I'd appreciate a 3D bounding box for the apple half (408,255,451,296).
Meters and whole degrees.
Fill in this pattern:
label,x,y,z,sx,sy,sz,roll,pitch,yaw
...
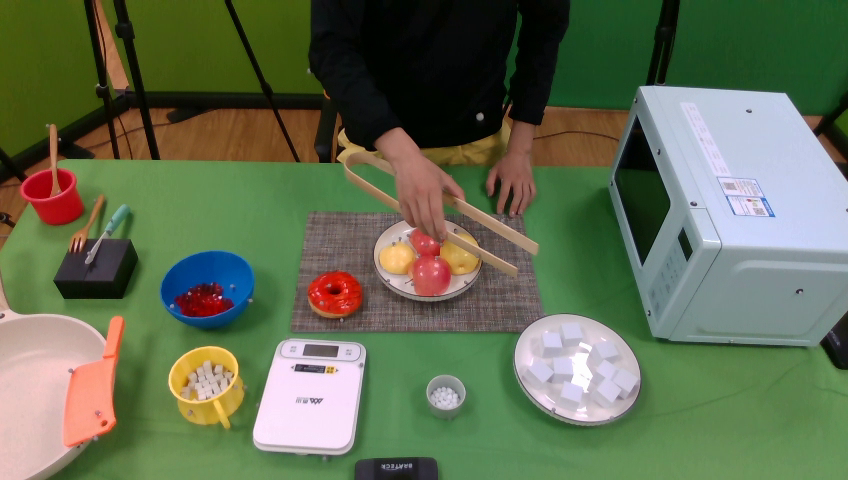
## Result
label,x,y,z,sx,sy,sz,roll,pitch,yaw
apple half,0.012,0.058,1.103,0.075,0.053,0.080,-6,43,-13

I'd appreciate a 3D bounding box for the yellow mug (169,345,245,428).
label,x,y,z,sx,sy,sz,roll,pitch,yaw
yellow mug,-0.322,0.230,0.922,0.100,0.064,0.130,-24,53,-25

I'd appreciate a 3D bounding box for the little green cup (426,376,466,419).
label,x,y,z,sx,sy,sz,roll,pitch,yaw
little green cup,0.033,0.248,0.950,0.061,0.039,0.061,2,46,-2

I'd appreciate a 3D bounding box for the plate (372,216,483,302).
label,x,y,z,sx,sy,sz,roll,pitch,yaw
plate,0.006,0.038,1.145,0.209,0.038,0.208,2,46,-2

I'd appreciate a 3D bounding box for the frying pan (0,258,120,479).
label,x,y,z,sx,sy,sz,roll,pitch,yaw
frying pan,-0.647,0.164,0.936,0.307,0.103,0.485,-19,58,-22

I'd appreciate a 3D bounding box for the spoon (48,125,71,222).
label,x,y,z,sx,sy,sz,roll,pitch,yaw
spoon,-0.718,-0.131,1.188,0.041,0.021,0.193,-3,90,-7

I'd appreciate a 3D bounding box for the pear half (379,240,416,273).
label,x,y,z,sx,sy,sz,roll,pitch,yaw
pear half,-0.048,0.024,1.146,0.070,0.031,0.087,11,47,-12

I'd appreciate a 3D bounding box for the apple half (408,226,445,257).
label,x,y,z,sx,sy,sz,roll,pitch,yaw
apple half,0.011,-0.006,1.177,0.081,0.033,0.081,2,53,-2

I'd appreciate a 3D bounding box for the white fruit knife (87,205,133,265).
label,x,y,z,sx,sy,sz,roll,pitch,yaw
white fruit knife,-0.584,-0.013,1.129,0.016,0.027,0.206,-1,32,-4

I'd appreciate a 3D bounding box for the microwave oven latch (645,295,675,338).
label,x,y,z,sx,sy,sz,roll,pitch,yaw
microwave oven latch,0.411,0.134,1.061,0.030,0.029,0.078,3,45,0

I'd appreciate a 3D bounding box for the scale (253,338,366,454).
label,x,y,z,sx,sy,sz,roll,pitch,yaw
scale,-0.175,0.236,0.951,0.149,0.032,0.199,4,45,0

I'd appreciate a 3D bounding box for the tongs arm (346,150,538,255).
label,x,y,z,sx,sy,sz,roll,pitch,yaw
tongs arm,0.018,-0.066,1.029,0.383,0.026,0.050,33,57,26

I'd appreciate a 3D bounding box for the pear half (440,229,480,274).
label,x,y,z,sx,sy,sz,roll,pitch,yaw
pear half,0.065,0.007,1.150,0.076,0.056,0.109,-11,43,-2

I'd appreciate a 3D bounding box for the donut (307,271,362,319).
label,x,y,z,sx,sy,sz,roll,pitch,yaw
donut,-0.157,0.097,1.073,0.099,0.048,0.098,4,44,-4

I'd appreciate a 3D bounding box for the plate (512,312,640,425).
label,x,y,z,sx,sy,sz,roll,pitch,yaw
plate,0.246,0.213,0.999,0.208,0.039,0.206,2,46,-2

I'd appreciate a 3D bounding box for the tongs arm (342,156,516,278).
label,x,y,z,sx,sy,sz,roll,pitch,yaw
tongs arm,-0.006,-0.044,1.009,0.385,0.028,0.028,33,61,26

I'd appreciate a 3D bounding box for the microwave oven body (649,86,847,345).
label,x,y,z,sx,sy,sz,roll,pitch,yaw
microwave oven body,0.567,-0.053,1.118,0.326,0.261,0.439,2,45,-1

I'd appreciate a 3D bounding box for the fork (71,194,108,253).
label,x,y,z,sx,sy,sz,roll,pitch,yaw
fork,-0.634,-0.036,1.158,0.028,0.019,0.206,-8,32,-8

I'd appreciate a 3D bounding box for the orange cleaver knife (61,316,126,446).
label,x,y,z,sx,sy,sz,roll,pitch,yaw
orange cleaver knife,-0.480,0.199,0.888,0.077,0.012,0.210,-8,46,-9

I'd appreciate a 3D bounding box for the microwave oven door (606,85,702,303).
label,x,y,z,sx,sy,sz,roll,pitch,yaw
microwave oven door,0.422,-0.094,1.140,0.039,0.245,0.353,2,46,-1

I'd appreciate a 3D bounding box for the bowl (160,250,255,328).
label,x,y,z,sx,sy,sz,roll,pitch,yaw
bowl,-0.362,0.098,1.040,0.151,0.077,0.150,2,45,-2
